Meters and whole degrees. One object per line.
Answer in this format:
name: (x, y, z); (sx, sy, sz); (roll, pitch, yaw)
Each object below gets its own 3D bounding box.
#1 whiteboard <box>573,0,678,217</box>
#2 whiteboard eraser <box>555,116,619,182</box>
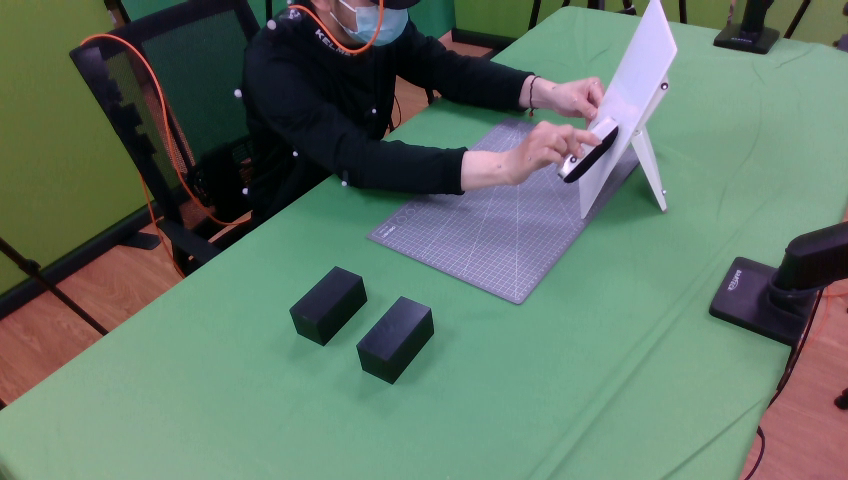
whiteboard: (0.368, -0.189, 0.964); (0.144, 0.305, 0.216); (18, 42, -2)
whiteboard eraser: (0.254, -0.138, 0.935); (0.042, 0.056, 0.112); (44, 96, 7)
